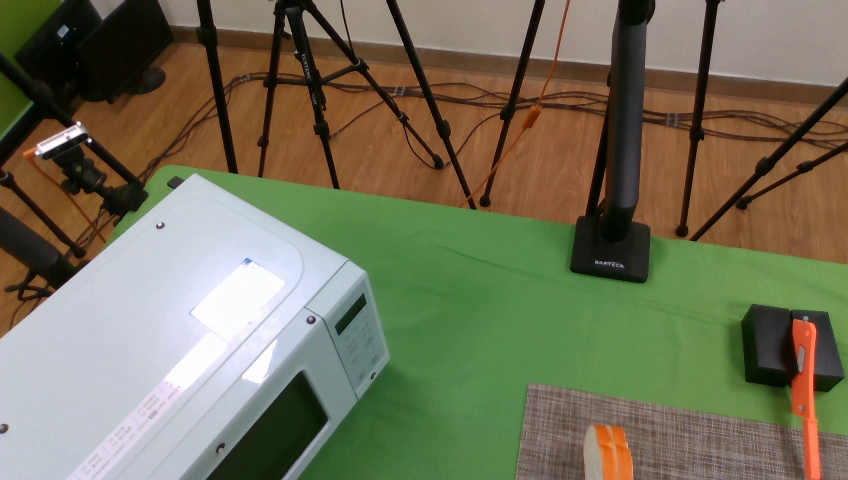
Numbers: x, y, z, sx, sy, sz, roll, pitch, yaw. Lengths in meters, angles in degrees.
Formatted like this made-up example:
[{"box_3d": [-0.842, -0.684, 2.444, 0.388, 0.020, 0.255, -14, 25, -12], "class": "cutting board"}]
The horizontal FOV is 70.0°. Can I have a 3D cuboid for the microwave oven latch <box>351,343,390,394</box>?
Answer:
[{"box_3d": [-0.081, 0.180, 0.870, 0.030, 0.030, 0.079, 29, 62, 23], "class": "microwave oven latch"}]

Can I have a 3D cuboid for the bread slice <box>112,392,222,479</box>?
[{"box_3d": [-0.332, 0.263, 0.788, 0.134, 0.018, 0.106, -10, 52, -14], "class": "bread slice"}]

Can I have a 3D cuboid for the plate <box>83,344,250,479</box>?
[{"box_3d": [-0.332, 0.238, 0.798, 0.208, 0.039, 0.205, 0, 52, 0], "class": "plate"}]

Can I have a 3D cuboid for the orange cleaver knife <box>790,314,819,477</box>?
[{"box_3d": [0.499, 0.198, 0.798, 0.012, 0.077, 0.210, 4, 75, 11], "class": "orange cleaver knife"}]

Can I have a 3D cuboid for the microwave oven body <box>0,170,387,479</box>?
[{"box_3d": [-0.311, 0.182, 0.769, 0.324, 0.262, 0.440, 28, 62, 22], "class": "microwave oven body"}]

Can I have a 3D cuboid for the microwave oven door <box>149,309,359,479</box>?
[{"box_3d": [-0.216, 0.269, 0.691, 0.039, 0.246, 0.355, 27, 61, 23], "class": "microwave oven door"}]
